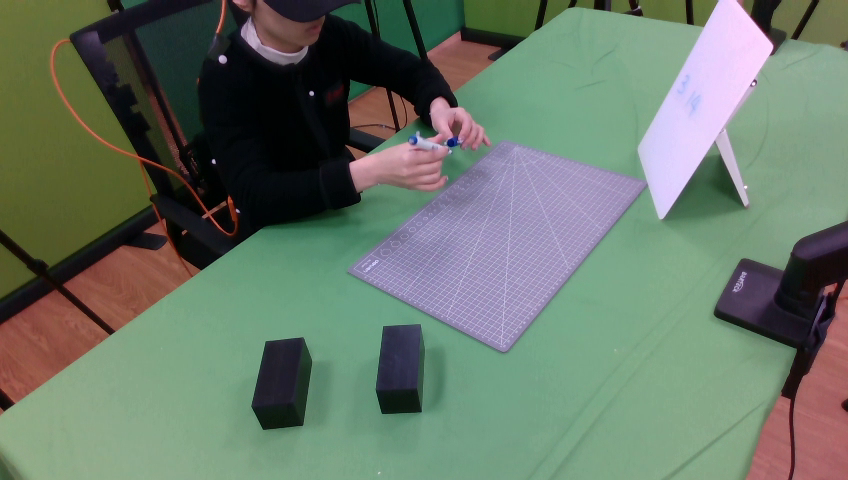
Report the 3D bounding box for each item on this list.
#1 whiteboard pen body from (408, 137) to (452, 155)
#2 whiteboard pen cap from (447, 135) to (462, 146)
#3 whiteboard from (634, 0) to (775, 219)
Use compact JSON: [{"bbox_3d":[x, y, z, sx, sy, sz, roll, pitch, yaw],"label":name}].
[{"bbox_3d":[0.013,-0.146,0.952,0.017,0.017,0.142,17,9,26],"label":"whiteboard pen body"},{"bbox_3d":[0.052,-0.173,1.053,0.018,0.018,0.033,15,23,24],"label":"whiteboard pen cap"},{"bbox_3d":[0.485,-0.192,0.957,0.144,0.305,0.216,14,41,-4],"label":"whiteboard"}]
